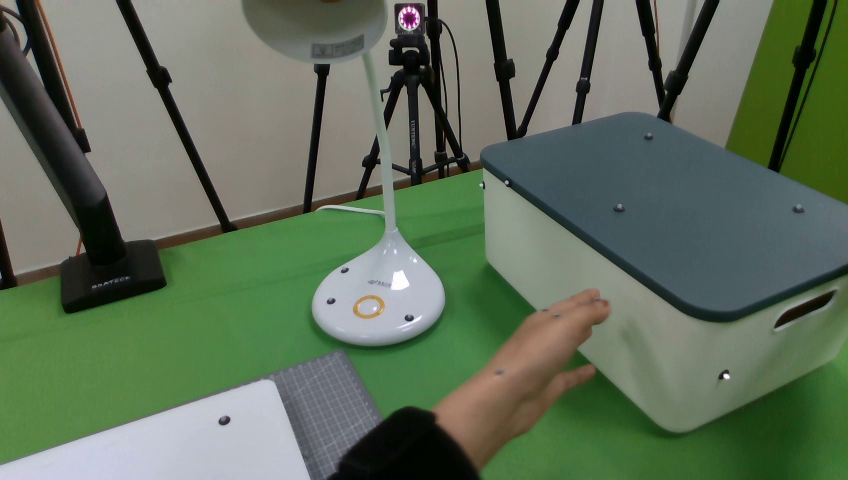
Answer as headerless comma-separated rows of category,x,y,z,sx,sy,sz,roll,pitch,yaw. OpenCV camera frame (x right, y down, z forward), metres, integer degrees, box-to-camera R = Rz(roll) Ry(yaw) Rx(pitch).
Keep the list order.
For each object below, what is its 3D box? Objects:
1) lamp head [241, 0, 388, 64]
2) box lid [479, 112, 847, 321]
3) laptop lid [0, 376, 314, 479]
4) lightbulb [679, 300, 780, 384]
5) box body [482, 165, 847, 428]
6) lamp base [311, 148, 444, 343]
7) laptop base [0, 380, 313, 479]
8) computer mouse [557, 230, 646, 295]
lamp head,-0.083,-0.221,0.490,0.112,0.113,0.122,-1,57,1
box lid,0.251,-0.054,0.643,0.264,0.015,0.367,-16,35,-21
laptop lid,-0.258,0.235,0.455,0.358,0.013,0.239,-15,37,-20
lightbulb,0.315,0.107,0.622,0.059,0.060,0.107,-30,62,-37
box body,0.253,0.010,0.681,0.255,0.162,0.360,-16,35,-22
lamp base,-0.056,-0.003,0.698,0.160,0.181,0.178,3,30,7
laptop base,-0.259,0.243,0.463,0.355,0.023,0.233,-15,38,-21
computer mouse,0.224,0.024,0.767,0.063,0.041,0.116,-13,38,-23
